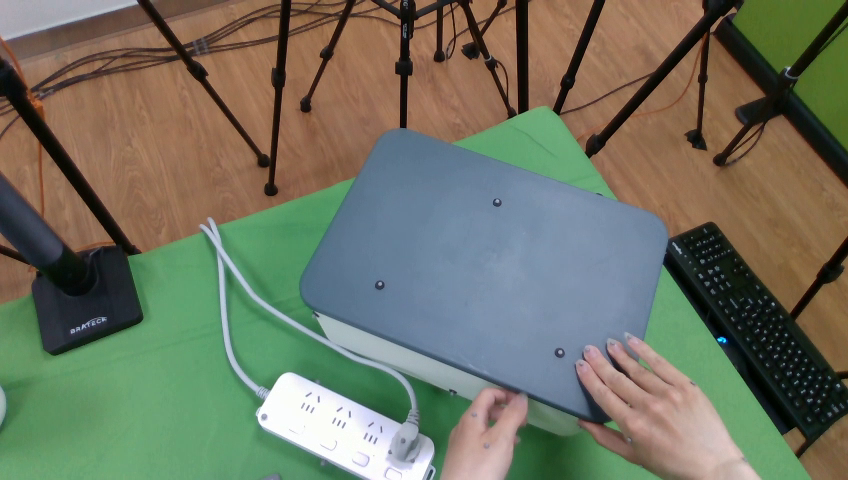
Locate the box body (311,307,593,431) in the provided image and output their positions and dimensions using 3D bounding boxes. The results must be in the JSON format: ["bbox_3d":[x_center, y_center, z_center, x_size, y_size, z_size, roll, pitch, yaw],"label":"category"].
[{"bbox_3d":[0.070,0.052,0.746,0.363,0.161,0.253,20,64,8],"label":"box body"}]

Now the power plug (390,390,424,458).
[{"bbox_3d":[-0.011,0.219,0.704,0.035,0.053,0.072,32,62,17],"label":"power plug"}]

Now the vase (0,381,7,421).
[{"bbox_3d":[-0.541,0.161,0.642,0.098,0.201,0.097,1,61,-2],"label":"vase"}]

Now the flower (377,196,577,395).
[{"bbox_3d":[0.069,0.073,0.814,0.044,0.038,0.360,-46,78,3],"label":"flower"}]

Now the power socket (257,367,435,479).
[{"bbox_3d":[-0.092,0.225,0.724,0.226,0.033,0.072,23,64,10],"label":"power socket"}]

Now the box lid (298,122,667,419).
[{"bbox_3d":[0.073,0.018,0.680,0.371,0.015,0.262,20,65,7],"label":"box lid"}]
